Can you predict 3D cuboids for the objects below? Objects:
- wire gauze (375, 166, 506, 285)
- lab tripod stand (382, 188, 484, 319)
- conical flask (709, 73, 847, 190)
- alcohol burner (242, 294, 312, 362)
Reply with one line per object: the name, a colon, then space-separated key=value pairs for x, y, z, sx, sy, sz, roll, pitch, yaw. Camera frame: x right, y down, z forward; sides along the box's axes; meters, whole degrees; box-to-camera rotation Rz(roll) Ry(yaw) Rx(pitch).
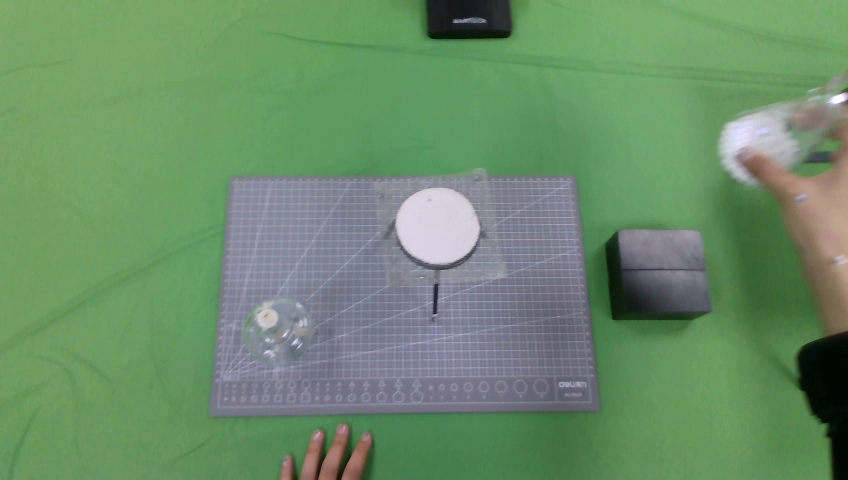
wire gauze: x=0.015 y=-0.015 z=0.628 sx=0.125 sy=0.011 sz=0.120 roll=-6 pitch=73 yaw=-5
lab tripod stand: x=0.015 y=0.003 z=0.692 sx=0.148 sy=0.132 sz=0.147 roll=1 pitch=70 yaw=-3
conical flask: x=0.299 y=-0.092 z=0.498 sx=0.075 sy=0.122 sz=0.075 roll=1 pitch=78 yaw=-5
alcohol burner: x=-0.165 y=0.093 z=0.667 sx=0.078 sy=0.120 sz=0.077 roll=1 pitch=70 yaw=-2
